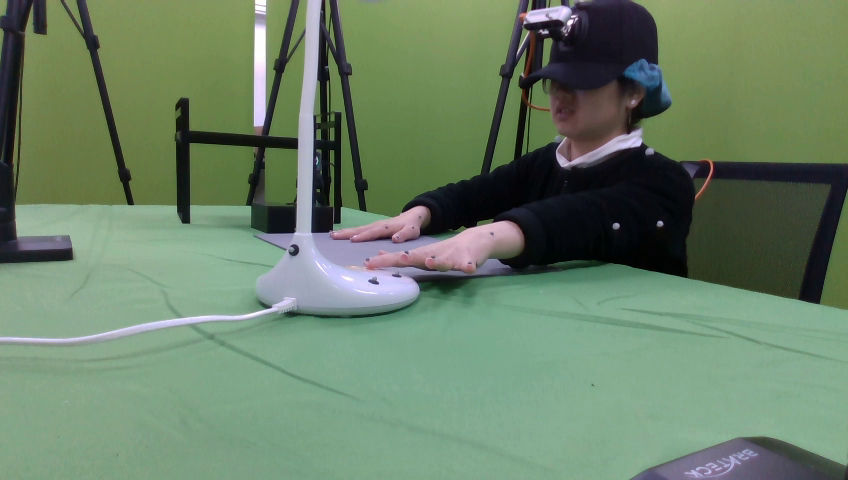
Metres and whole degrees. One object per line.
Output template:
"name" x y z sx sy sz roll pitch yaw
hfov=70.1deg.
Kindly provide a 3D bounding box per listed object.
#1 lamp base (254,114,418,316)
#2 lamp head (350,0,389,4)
"lamp base" -0.086 -0.027 0.577 0.160 0.180 0.179 4 10 16
"lamp head" -0.053 -0.313 0.597 0.112 0.112 0.123 6 -28 25
